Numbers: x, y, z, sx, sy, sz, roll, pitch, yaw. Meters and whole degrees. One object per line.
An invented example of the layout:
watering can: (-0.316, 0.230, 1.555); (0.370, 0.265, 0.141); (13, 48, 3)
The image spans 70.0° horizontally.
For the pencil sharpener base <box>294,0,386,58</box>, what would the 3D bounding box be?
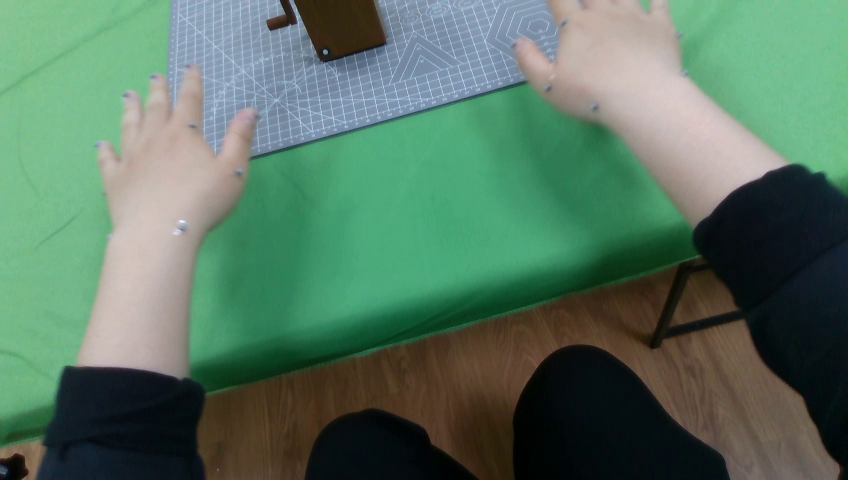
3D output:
pencil sharpener base: (-0.086, -0.228, 0.546); (0.077, 0.108, 0.061); (-17, 58, 2)

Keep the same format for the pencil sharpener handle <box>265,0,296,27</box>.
pencil sharpener handle: (-0.137, -0.220, 0.537); (0.030, 0.068, 0.035); (-17, 58, 2)
